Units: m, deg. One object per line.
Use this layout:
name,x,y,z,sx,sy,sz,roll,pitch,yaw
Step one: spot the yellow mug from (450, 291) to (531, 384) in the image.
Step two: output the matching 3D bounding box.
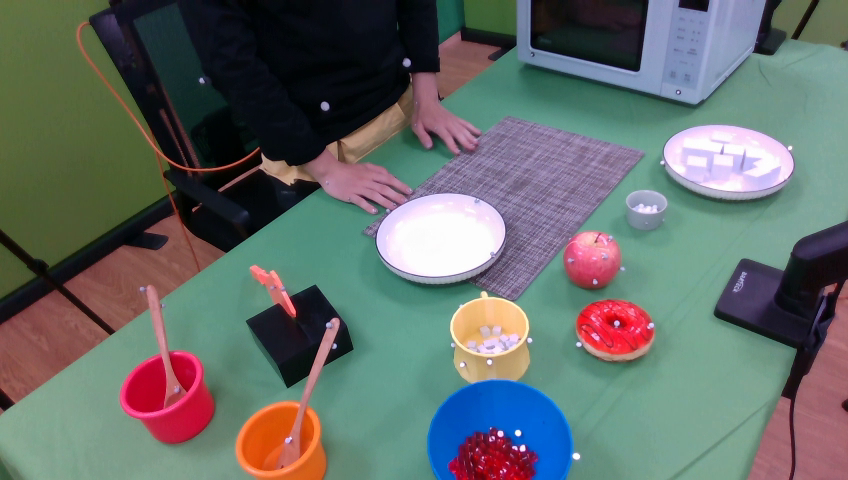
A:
yellow mug,0.085,0.120,0.786,0.100,0.064,0.130,-7,39,1

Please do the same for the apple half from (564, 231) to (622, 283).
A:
apple half,0.248,0.021,0.874,0.080,0.075,0.053,13,40,28

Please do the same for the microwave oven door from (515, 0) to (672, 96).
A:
microwave oven door,0.343,-0.454,1.259,0.353,0.245,0.039,26,51,33

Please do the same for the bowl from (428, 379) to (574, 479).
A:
bowl,0.082,0.233,0.644,0.151,0.077,0.150,-4,40,4

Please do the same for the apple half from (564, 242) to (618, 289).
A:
apple half,0.229,0.044,0.848,0.081,0.081,0.033,16,41,26

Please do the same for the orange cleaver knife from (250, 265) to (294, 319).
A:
orange cleaver knife,-0.221,0.073,0.876,0.012,0.077,0.210,-24,12,-22

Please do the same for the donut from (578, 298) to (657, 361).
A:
donut,0.250,0.115,0.786,0.099,0.048,0.098,-5,37,4

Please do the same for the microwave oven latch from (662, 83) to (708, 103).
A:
microwave oven latch,0.518,-0.296,1.204,0.078,0.029,0.030,28,52,35

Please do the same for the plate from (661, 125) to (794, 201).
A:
plate,0.514,-0.128,1.035,0.207,0.039,0.206,-4,40,4

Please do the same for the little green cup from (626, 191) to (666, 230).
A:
little green cup,0.352,-0.046,0.963,0.061,0.039,0.061,-4,40,4

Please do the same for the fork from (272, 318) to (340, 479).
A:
fork,-0.131,0.186,0.676,0.028,0.019,0.207,18,90,28

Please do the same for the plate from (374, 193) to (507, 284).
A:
plate,0.027,0.000,0.952,0.209,0.038,0.208,-4,40,4

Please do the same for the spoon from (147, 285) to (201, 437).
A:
spoon,-0.318,0.148,0.754,0.042,0.021,0.193,-15,85,-9

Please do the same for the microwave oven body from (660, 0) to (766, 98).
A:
microwave oven body,0.472,-0.513,1.317,0.438,0.261,0.327,26,51,34
